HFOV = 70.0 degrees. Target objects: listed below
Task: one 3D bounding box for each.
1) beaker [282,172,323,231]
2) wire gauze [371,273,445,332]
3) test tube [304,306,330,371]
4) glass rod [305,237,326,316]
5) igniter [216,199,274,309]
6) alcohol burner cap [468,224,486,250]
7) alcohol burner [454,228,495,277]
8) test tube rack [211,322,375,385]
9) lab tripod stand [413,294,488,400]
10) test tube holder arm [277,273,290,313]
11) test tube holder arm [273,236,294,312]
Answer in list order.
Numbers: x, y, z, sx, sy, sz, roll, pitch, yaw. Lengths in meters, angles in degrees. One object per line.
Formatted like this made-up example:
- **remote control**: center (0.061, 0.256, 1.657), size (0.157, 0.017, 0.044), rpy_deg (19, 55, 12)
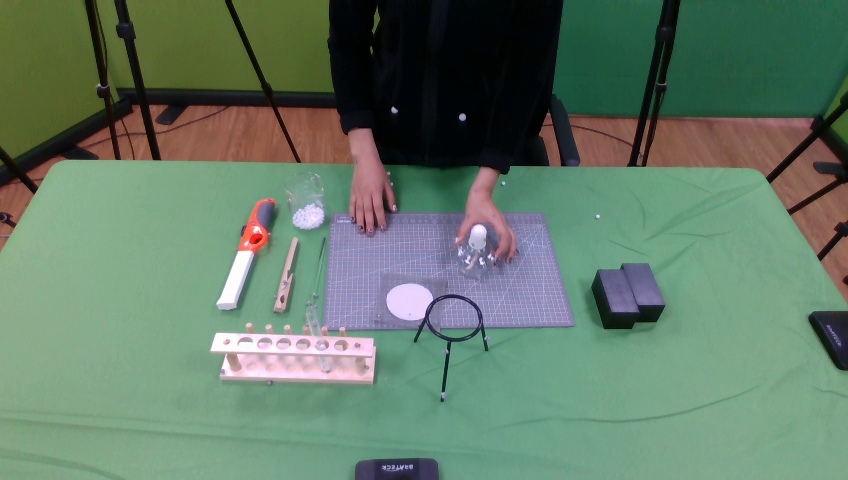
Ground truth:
- **beaker**: center (-0.234, -0.073, 1.198), size (0.084, 0.101, 0.074), rpy_deg (24, 49, 17)
- **wire gauze**: center (-0.028, 0.109, 1.099), size (0.125, 0.011, 0.121), rpy_deg (7, 45, 4)
- **test tube**: center (-0.162, 0.154, 0.925), size (0.017, 0.151, 0.017), rpy_deg (-2, 44, 2)
- **glass rod**: center (-0.202, 0.064, 1.131), size (0.008, 0.008, 0.198), rpy_deg (4, 44, 0)
- **igniter**: center (-0.336, 0.017, 1.152), size (0.057, 0.025, 0.275), rpy_deg (-2, 45, 8)
- **alcohol burner cap**: center (0.097, -0.008, 1.096), size (0.034, 0.048, 0.033), rpy_deg (1, 54, -1)
- **alcohol burner**: center (0.095, 0.015, 1.124), size (0.078, 0.119, 0.077), rpy_deg (3, 49, -3)
- **test tube rack**: center (-0.202, 0.176, 0.969), size (0.242, 0.085, 0.066), rpy_deg (3, 46, -2)
- **lab tripod stand**: center (0.045, 0.160, 0.972), size (0.148, 0.132, 0.147), rpy_deg (3, 44, -2)
- **test tube holder arm**: center (-0.254, 0.093, 1.094), size (0.010, 0.015, 0.087), rpy_deg (30, 38, -28)
- **test tube holder arm**: center (-0.260, 0.058, 1.122), size (0.013, 0.015, 0.177), rpy_deg (29, 39, -29)
